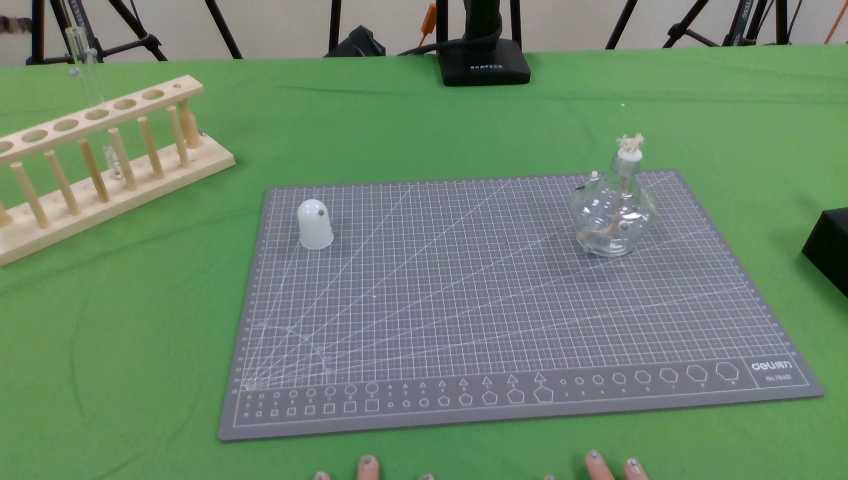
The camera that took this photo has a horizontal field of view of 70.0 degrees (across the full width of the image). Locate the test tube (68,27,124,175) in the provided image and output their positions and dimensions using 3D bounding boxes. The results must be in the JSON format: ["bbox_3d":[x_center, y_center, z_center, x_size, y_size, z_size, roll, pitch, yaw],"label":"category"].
[{"bbox_3d":[-0.318,-0.130,0.592,0.017,0.151,0.017,2,36,-1],"label":"test tube"}]

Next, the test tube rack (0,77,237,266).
[{"bbox_3d":[-0.319,-0.076,0.605,0.242,0.086,0.066,-32,50,-31],"label":"test tube rack"}]

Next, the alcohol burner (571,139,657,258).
[{"bbox_3d":[0.175,-0.042,0.548,0.078,0.120,0.077,1,44,-1],"label":"alcohol burner"}]

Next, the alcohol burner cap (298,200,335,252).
[{"bbox_3d":[-0.102,-0.016,0.570,0.034,0.048,0.033,0,42,0],"label":"alcohol burner cap"}]
